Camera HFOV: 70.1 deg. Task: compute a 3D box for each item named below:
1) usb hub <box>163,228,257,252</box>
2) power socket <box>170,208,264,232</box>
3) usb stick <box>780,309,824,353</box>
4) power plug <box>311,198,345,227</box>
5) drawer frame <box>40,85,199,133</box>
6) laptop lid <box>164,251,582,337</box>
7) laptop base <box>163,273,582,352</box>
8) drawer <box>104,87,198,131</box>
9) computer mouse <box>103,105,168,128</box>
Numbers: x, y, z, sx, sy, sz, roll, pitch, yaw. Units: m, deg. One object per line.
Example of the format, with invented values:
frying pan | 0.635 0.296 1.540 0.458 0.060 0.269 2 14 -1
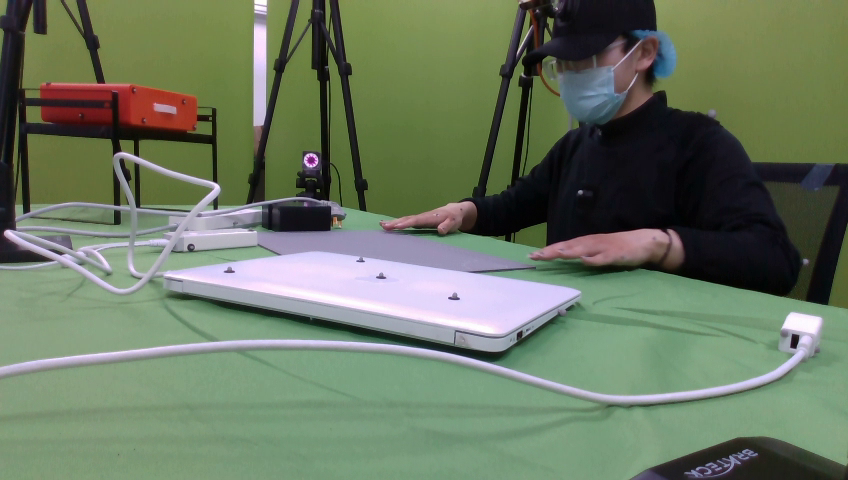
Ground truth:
usb hub | -0.313 -0.001 0.894 0.049 0.025 0.126 9 10 41
power socket | -0.380 -0.038 1.129 0.072 0.032 0.227 4 8 15
usb stick | 0.311 0.072 0.497 0.027 0.021 0.059 8 15 34
power plug | -0.195 -0.053 1.220 0.073 0.052 0.035 4 -22 -20
drawer frame | -0.612 -0.266 1.235 0.213 0.082 0.202 4 8 14
laptop lid | -0.045 0.040 0.599 0.355 0.013 0.243 7 7 30
laptop base | -0.046 0.052 0.598 0.353 0.023 0.236 7 6 28
drawer | -0.609 -0.264 1.235 0.211 0.073 0.195 3 8 16
computer mouse | -0.582 -0.249 1.223 0.118 0.041 0.062 2 3 -39
